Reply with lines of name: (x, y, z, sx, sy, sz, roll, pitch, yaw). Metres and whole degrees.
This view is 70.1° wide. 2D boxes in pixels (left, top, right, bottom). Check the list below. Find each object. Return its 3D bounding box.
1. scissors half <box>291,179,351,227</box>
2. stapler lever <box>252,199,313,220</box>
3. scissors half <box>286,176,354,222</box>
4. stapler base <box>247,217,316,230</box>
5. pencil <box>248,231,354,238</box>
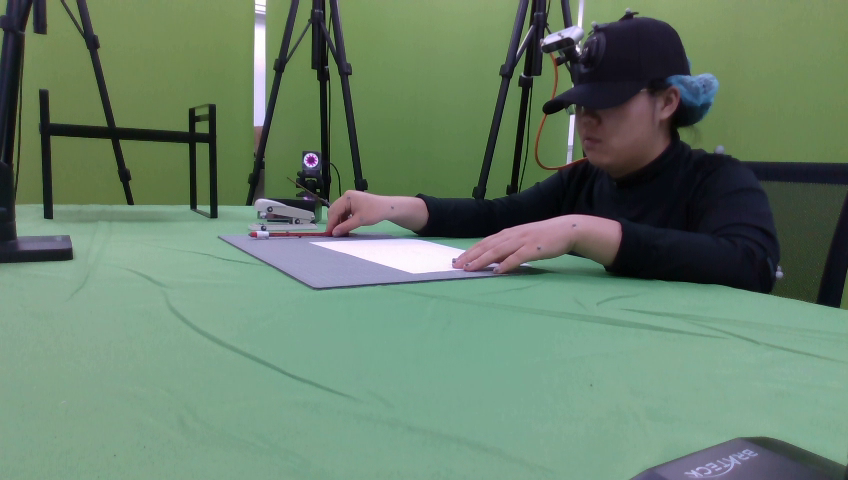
scissors half: (-0.232, -0.085, 1.318, 0.175, 0.013, 0.040, 38, 20, 4)
stapler lever: (-0.273, -0.058, 1.170, 0.119, 0.040, 0.026, 0, 10, -37)
scissors half: (-0.229, -0.091, 1.337, 0.175, 0.013, 0.040, 33, 15, -13)
stapler base: (-0.276, -0.033, 1.172, 0.131, 0.024, 0.041, 0, 10, -37)
pencil: (-0.206, -0.008, 1.039, 0.195, 0.012, 0.012, 0, 7, -36)
